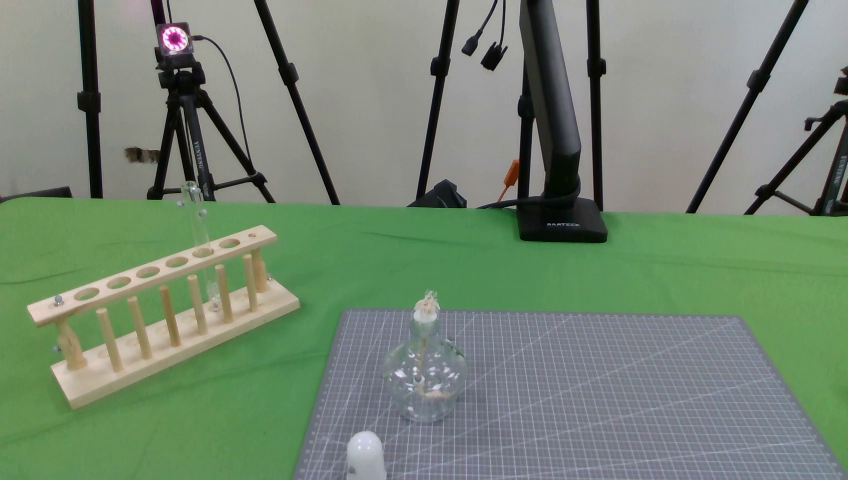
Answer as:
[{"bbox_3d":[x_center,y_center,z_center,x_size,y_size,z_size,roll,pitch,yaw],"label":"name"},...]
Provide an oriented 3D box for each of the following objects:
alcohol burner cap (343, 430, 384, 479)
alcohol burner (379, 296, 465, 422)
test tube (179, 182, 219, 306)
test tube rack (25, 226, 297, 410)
[{"bbox_3d":[-0.050,0.173,0.483,0.034,0.048,0.033,0,29,0],"label":"alcohol burner cap"},{"bbox_3d":[-0.002,0.101,0.538,0.078,0.120,0.077,0,28,0],"label":"alcohol burner"},{"bbox_3d":[-0.235,0.008,0.640,0.017,0.151,0.017,0,32,0],"label":"test tube"},{"bbox_3d":[-0.259,0.070,0.631,0.243,0.086,0.066,-24,37,-35],"label":"test tube rack"}]
